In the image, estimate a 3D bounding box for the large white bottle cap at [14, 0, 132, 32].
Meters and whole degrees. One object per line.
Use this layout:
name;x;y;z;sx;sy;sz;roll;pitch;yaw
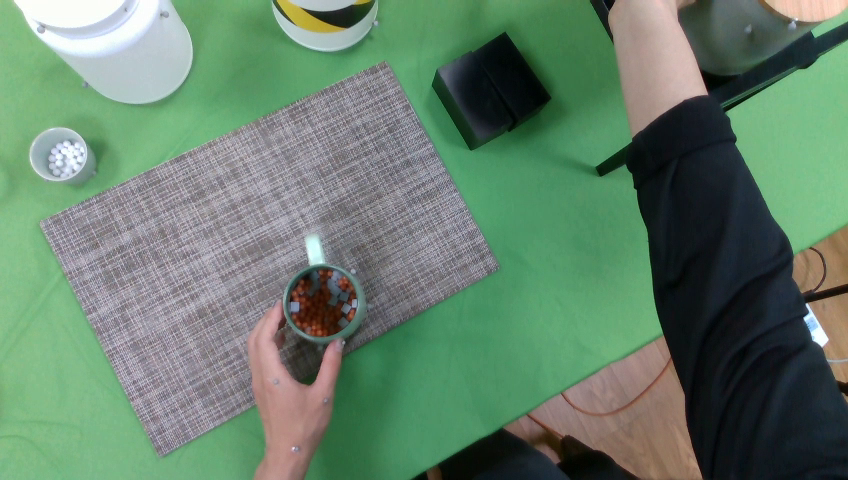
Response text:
large white bottle cap;-0.327;-0.250;0.560;0.115;0.018;0.114;1;84;-7

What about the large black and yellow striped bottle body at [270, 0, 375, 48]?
large black and yellow striped bottle body;-0.118;-0.314;0.681;0.131;0.184;0.130;1;83;-7

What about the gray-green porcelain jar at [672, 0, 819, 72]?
gray-green porcelain jar;0.307;-0.228;0.575;0.106;0.126;0.105;1;82;-7

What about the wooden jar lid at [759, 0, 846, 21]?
wooden jar lid;0.313;-0.236;0.514;0.108;0.020;0.108;1;86;-8

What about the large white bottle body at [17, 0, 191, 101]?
large white bottle body;-0.337;-0.239;0.643;0.131;0.185;0.130;1;83;-7

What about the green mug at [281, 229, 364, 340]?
green mug;-0.117;0.049;0.674;0.092;0.105;0.125;-11;84;-8

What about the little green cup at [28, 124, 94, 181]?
little green cup;-0.411;-0.097;0.691;0.062;0.038;0.061;1;84;-8
